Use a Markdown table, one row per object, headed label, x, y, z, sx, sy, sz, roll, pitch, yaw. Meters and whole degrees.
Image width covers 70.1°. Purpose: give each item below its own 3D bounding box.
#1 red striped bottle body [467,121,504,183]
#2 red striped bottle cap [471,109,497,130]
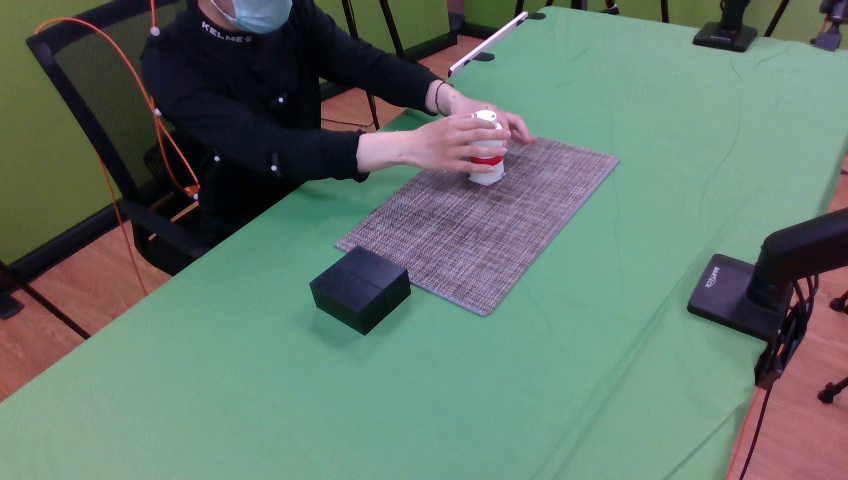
| label | x | y | z | sx | sy | sz | roll | pitch | yaw |
| --- | --- | --- | --- | --- | --- | --- | --- | --- | --- |
| red striped bottle body | 0.108 | -0.165 | 1.063 | 0.063 | 0.120 | 0.062 | -4 | 41 | 4 |
| red striped bottle cap | 0.102 | -0.205 | 1.029 | 0.044 | 0.018 | 0.044 | -4 | 46 | 5 |
